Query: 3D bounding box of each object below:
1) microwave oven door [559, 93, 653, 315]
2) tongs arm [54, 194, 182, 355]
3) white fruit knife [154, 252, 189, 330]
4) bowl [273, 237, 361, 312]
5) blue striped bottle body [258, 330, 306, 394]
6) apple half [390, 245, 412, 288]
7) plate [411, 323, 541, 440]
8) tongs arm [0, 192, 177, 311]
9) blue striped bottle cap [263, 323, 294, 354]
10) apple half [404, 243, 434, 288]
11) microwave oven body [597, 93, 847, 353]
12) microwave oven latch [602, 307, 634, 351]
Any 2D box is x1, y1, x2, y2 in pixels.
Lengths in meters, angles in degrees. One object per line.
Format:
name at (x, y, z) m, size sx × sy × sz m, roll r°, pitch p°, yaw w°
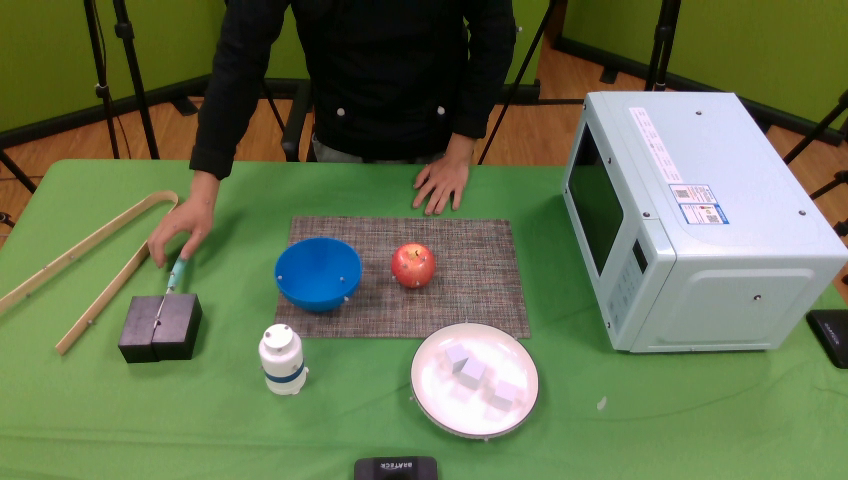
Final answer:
microwave oven door at (0.327, -0.074, 1.123) m, size 0.039 × 0.245 × 0.353 m, roll -1°, pitch 46°, yaw -5°
tongs arm at (-0.543, 0.048, 1.107) m, size 0.028 × 0.028 × 0.385 m, roll 11°, pitch 46°, yaw 10°
white fruit knife at (-0.438, 0.083, 1.053) m, size 0.016 × 0.027 × 0.206 m, roll -2°, pitch 35°, yaw -5°
bowl at (-0.186, 0.075, 1.069) m, size 0.151 × 0.077 × 0.150 m, roll 3°, pitch 45°, yaw -3°
blue striped bottle body at (-0.220, 0.182, 0.937) m, size 0.063 × 0.121 × 0.062 m, roll 2°, pitch 46°, yaw -2°
apple half at (-0.046, 0.053, 1.105) m, size 0.033 × 0.081 × 0.080 m, roll -8°, pitch 47°, yaw -16°
plate at (0.082, 0.228, 0.976) m, size 0.208 × 0.039 × 0.206 m, roll 2°, pitch 45°, yaw -2°
tongs arm at (-0.618, 0.019, 1.124) m, size 0.050 × 0.026 × 0.384 m, roll 24°, pitch 47°, yaw 16°
blue striped bottle cap at (-0.217, 0.146, 0.900) m, size 0.044 × 0.021 × 0.044 m, roll 1°, pitch 46°, yaw -1°
apple half at (-0.008, 0.047, 1.115) m, size 0.053 × 0.075 × 0.080 m, roll -8°, pitch 44°, yaw -15°
microwave oven body at (0.475, -0.041, 1.109) m, size 0.326 × 0.261 × 0.438 m, roll -1°, pitch 45°, yaw -4°
microwave oven latch at (0.332, 0.153, 1.044) m, size 0.030 × 0.029 × 0.078 m, roll 0°, pitch 45°, yaw -4°
